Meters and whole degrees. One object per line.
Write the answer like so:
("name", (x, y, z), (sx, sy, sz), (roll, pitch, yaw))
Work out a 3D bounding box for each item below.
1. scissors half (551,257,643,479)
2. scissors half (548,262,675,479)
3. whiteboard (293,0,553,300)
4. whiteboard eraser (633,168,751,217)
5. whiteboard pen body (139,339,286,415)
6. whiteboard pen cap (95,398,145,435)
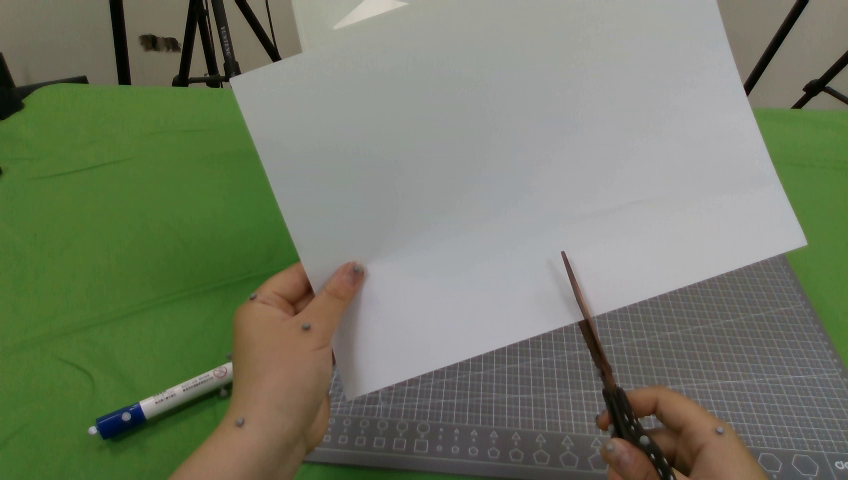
("scissors half", (0.111, 0.092, 0.371), (0.013, 0.175, 0.040), (-22, 2, -3))
("scissors half", (0.109, 0.086, 0.348), (0.013, 0.040, 0.173), (-23, 61, 2))
("whiteboard", (-0.010, -0.130, 0.606), (0.218, 0.307, 0.142), (-15, 21, -17))
("whiteboard eraser", (0.293, -0.052, 0.669), (0.113, 0.042, 0.055), (2, 41, 1))
("whiteboard pen body", (-0.177, 0.112, 0.479), (0.141, 0.017, 0.017), (-22, 43, -27))
("whiteboard pen cap", (-0.226, 0.131, 0.453), (0.033, 0.018, 0.018), (-24, 44, -27))
